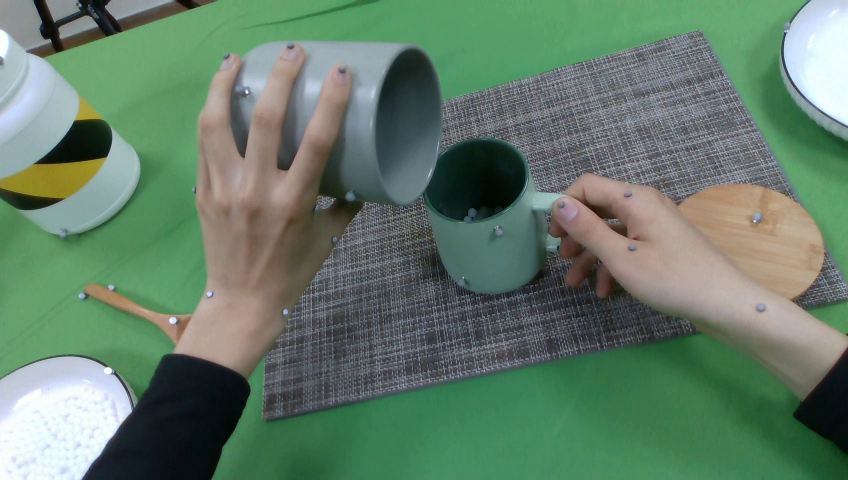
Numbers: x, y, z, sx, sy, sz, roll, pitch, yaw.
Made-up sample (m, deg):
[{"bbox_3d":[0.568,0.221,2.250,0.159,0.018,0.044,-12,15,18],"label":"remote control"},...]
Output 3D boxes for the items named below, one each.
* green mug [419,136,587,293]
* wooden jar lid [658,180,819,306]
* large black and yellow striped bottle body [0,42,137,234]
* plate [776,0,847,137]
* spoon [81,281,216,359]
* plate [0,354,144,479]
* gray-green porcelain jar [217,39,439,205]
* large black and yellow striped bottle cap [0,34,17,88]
[{"bbox_3d":[0.062,-0.016,0.467,0.125,0.106,0.092,5,60,20],"label":"green mug"},{"bbox_3d":[0.233,0.003,0.456,0.108,0.021,0.107,-8,57,13],"label":"wooden jar lid"},{"bbox_3d":[-0.404,-0.104,0.616,0.130,0.186,0.129,-7,57,12],"label":"large black and yellow striped bottle body"},{"bbox_3d":[0.402,-0.148,0.495,0.207,0.039,0.205,-8,57,12],"label":"plate"},{"bbox_3d":[-0.262,0.066,0.566,0.192,0.022,0.041,16,81,24],"label":"spoon"},{"bbox_3d":[-0.318,0.195,0.491,0.209,0.038,0.207,-7,57,12],"label":"plate"},{"bbox_3d":[-0.067,-0.084,0.421,0.126,0.107,0.105,9,62,22],"label":"gray-green porcelain jar"},{"bbox_3d":[-0.425,-0.146,0.547,0.115,0.019,0.114,-8,56,12],"label":"large black and yellow striped bottle cap"}]
